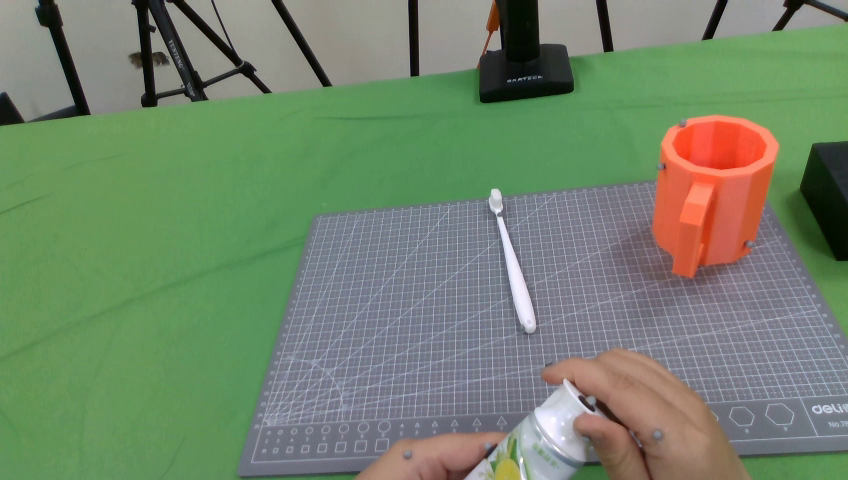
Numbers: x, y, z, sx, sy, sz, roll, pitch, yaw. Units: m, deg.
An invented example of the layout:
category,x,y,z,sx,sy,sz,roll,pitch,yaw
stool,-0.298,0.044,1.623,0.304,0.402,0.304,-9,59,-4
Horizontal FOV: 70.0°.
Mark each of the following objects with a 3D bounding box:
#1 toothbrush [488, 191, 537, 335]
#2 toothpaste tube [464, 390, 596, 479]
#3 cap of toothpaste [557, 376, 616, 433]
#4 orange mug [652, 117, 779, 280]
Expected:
category,x,y,z,sx,sy,sz,roll,pitch,yaw
toothbrush,0.079,0.014,0.555,0.014,0.017,0.180,1,42,-8
toothpaste tube,0.032,0.144,0.325,0.165,0.035,0.054,-52,36,11
cap of toothpaste,0.081,0.085,0.307,0.011,0.038,0.037,-51,43,12
orange mug,0.233,-0.030,0.503,0.083,0.102,0.126,16,44,29
